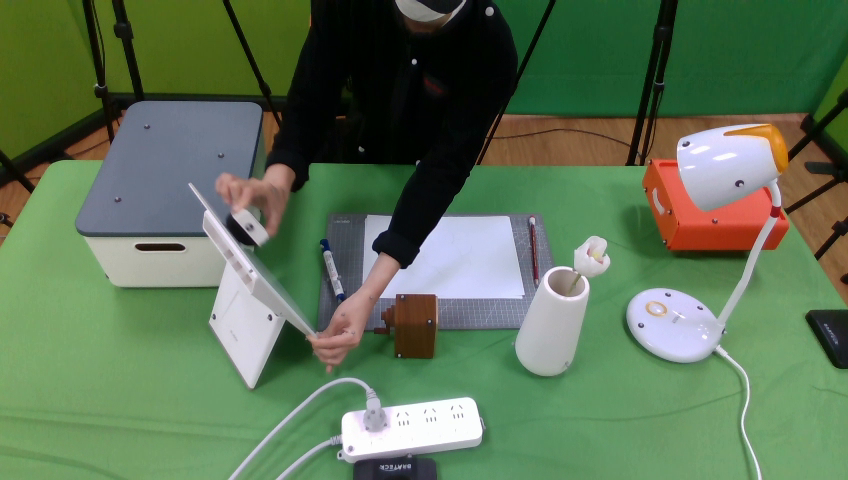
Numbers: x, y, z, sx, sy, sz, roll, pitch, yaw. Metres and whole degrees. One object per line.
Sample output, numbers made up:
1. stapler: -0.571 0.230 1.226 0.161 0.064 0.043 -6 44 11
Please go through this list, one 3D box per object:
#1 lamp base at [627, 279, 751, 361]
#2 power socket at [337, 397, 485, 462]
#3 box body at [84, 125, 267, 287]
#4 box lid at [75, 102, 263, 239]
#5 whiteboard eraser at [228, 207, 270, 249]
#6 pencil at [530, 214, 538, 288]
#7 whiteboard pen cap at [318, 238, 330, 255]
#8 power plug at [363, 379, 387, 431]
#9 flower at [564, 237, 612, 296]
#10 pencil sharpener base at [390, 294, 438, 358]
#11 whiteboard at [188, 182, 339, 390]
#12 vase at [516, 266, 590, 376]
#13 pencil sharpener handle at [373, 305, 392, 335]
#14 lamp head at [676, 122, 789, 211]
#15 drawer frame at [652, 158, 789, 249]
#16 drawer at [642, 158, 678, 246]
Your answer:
1. lamp base: 0.459 0.100 1.027 0.178 0.181 0.160 27 51 17
2. power socket: -0.018 0.285 0.915 0.227 0.033 0.071 -5 46 -8
3. box body: -0.446 -0.088 1.150 0.254 0.161 0.361 -1 46 -5
4. box lid: -0.443 -0.138 1.094 0.263 0.015 0.369 -1 47 -5
5. whiteboard eraser: -0.264 -0.017 0.907 0.042 0.056 0.112 -43 19 -9
6. pencil: 0.218 0.019 1.201 0.012 0.012 0.193 5 48 1
7. whiteboard pen cap: -0.191 0.013 1.163 0.018 0.018 0.033 -13 50 -16
8. power plug: -0.072 0.252 0.910 0.035 0.053 0.072 3 45 -1
9. flower: 0.206 0.088 0.893 0.038 0.363 0.044 -16 67 -9
10. pencil sharpener base: -0.018 0.143 1.000 0.077 0.107 0.061 1 46 -2
11. whiteboard: -0.292 0.096 0.929 0.144 0.307 0.216 -38 57 -10
12. vase: 0.208 0.132 0.964 0.098 0.201 0.097 3 46 -3
13. pencil sharpener handle: -0.068 0.133 0.989 0.030 0.068 0.036 1 46 -2
14. lamp head: 0.423 -0.104 0.819 0.122 0.113 0.112 -13 33 40
15. drawer frame: 0.571 -0.075 1.214 0.214 0.083 0.200 0 46 -1
16. drawer: 0.565 -0.076 1.211 0.212 0.073 0.193 2 45 -2
